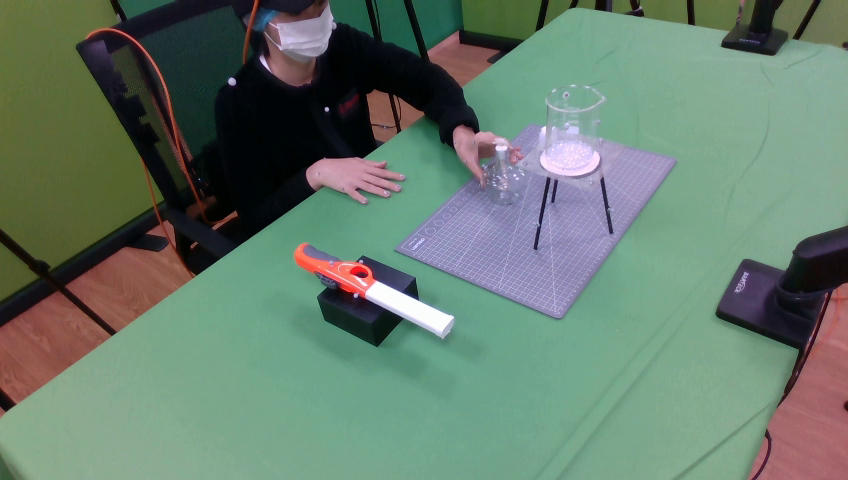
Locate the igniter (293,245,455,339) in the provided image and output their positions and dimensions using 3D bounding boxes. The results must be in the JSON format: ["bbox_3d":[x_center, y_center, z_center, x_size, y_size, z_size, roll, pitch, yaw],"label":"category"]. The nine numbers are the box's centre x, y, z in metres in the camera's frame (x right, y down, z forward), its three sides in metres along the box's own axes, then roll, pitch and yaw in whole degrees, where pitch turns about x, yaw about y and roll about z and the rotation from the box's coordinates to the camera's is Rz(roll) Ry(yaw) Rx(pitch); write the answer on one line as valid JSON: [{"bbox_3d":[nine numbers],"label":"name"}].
[{"bbox_3d":[-0.079,0.066,0.834,0.274,0.025,0.057,23,48,27],"label":"igniter"}]

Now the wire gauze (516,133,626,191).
[{"bbox_3d":[0.217,-0.122,0.893,0.124,0.011,0.122,20,47,32],"label":"wire gauze"}]

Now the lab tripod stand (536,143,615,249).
[{"bbox_3d":[0.224,-0.069,0.931,0.148,0.132,0.147,-4,42,4],"label":"lab tripod stand"}]

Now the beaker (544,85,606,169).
[{"bbox_3d":[0.212,-0.158,0.861,0.084,0.101,0.073,-3,41,6],"label":"beaker"}]

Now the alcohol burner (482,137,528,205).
[{"bbox_3d":[0.135,-0.120,1.022,0.078,0.119,0.077,-7,40,6],"label":"alcohol burner"}]

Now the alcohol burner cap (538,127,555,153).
[{"bbox_3d":[0.234,-0.191,1.147,0.034,0.048,0.033,-5,40,5],"label":"alcohol burner cap"}]
